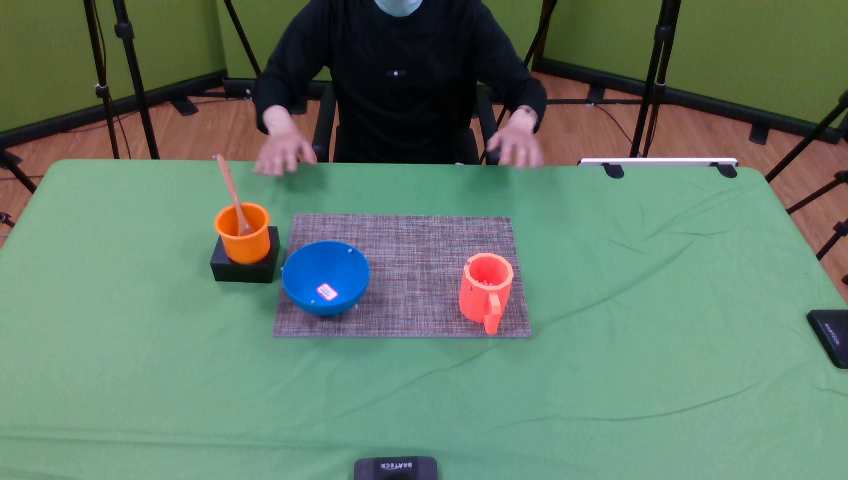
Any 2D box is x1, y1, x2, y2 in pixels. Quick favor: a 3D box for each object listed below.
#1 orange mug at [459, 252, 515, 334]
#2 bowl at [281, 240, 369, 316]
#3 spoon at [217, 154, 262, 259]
[{"bbox_3d":[0.111,0.096,1.052,0.083,0.101,0.125,-4,42,-7],"label":"orange mug"},{"bbox_3d":[-0.170,0.080,1.062,0.151,0.077,0.150,2,46,-2],"label":"bowl"},{"bbox_3d":[-0.330,-0.060,1.073,0.042,0.194,0.021,-18,6,-21],"label":"spoon"}]
